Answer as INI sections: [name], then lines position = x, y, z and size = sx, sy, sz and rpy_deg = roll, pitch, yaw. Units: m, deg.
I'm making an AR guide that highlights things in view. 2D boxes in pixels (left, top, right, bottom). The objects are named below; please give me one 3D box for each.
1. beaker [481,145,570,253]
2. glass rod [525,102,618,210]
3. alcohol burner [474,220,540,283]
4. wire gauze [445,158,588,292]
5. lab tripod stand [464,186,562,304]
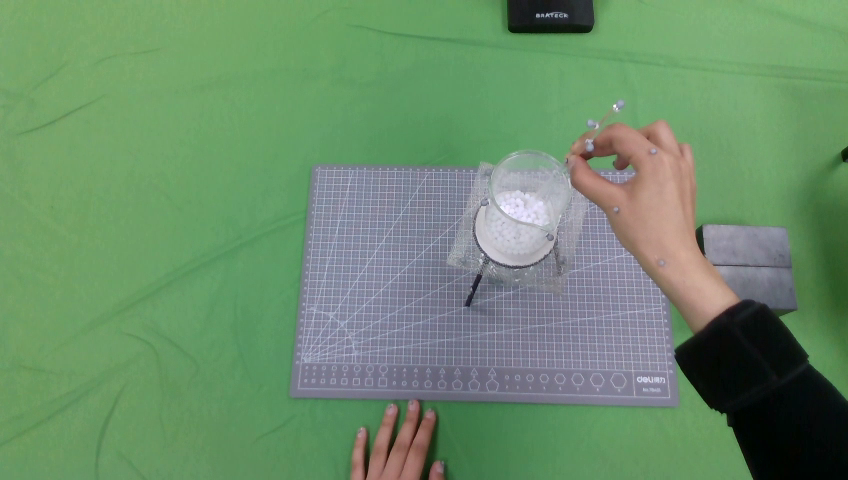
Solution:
[beaker]
position = 0.094, -0.032, 0.581
size = 0.074, 0.101, 0.083
rpy_deg = -25, 73, -8
[glass rod]
position = 0.121, -0.065, 0.527
size = 0.008, 0.200, 0.008
rpy_deg = 3, 71, -9
[alcohol burner]
position = 0.097, 0.009, 0.698
size = 0.078, 0.120, 0.077
rpy_deg = -1, 73, 2
[wire gauze]
position = 0.097, -0.017, 0.627
size = 0.121, 0.011, 0.124
rpy_deg = 18, 71, 6
[lab tripod stand]
position = 0.093, 0.002, 0.690
size = 0.148, 0.132, 0.147
rpy_deg = -1, 72, 3
